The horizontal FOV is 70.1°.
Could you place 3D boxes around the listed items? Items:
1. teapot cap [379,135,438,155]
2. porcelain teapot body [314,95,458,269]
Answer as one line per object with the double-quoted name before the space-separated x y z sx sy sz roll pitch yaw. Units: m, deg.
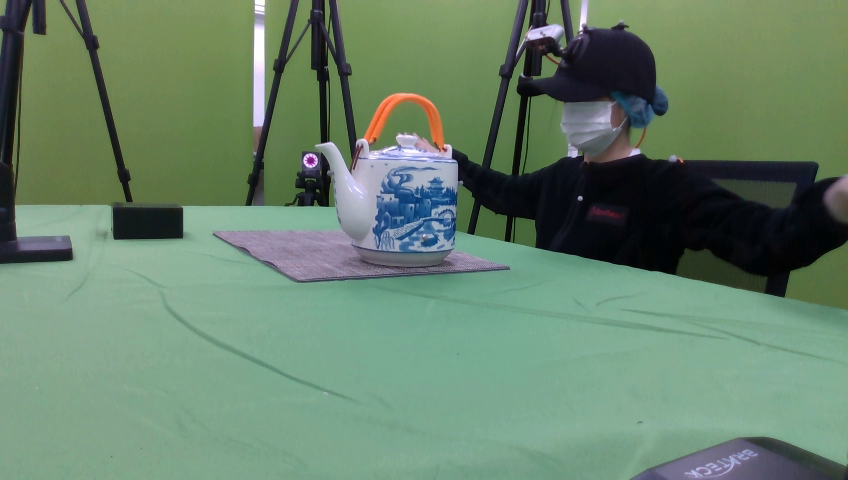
"teapot cap" -0.023 -0.119 0.812 0.085 0.044 0.085 2 9 0
"porcelain teapot body" -0.049 -0.079 0.800 0.206 0.225 0.144 -3 9 -37
